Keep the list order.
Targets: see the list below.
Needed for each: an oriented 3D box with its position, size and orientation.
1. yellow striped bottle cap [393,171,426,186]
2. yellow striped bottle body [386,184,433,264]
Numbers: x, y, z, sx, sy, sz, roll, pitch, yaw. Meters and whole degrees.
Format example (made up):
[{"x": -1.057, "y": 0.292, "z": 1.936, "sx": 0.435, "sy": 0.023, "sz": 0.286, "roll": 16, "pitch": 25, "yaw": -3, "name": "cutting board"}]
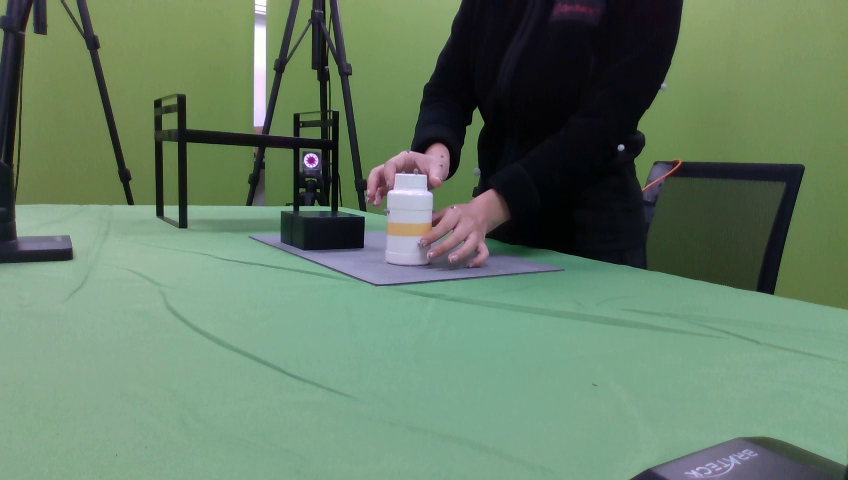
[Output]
[{"x": -0.018, "y": -0.082, "z": 0.808, "sx": 0.044, "sy": 0.018, "sz": 0.044, "roll": 3, "pitch": 9, "yaw": 0, "name": "yellow striped bottle cap"}, {"x": -0.020, "y": -0.031, "z": 0.814, "sx": 0.063, "sy": 0.120, "sz": 0.063, "roll": 1, "pitch": 8, "yaw": 0, "name": "yellow striped bottle body"}]
